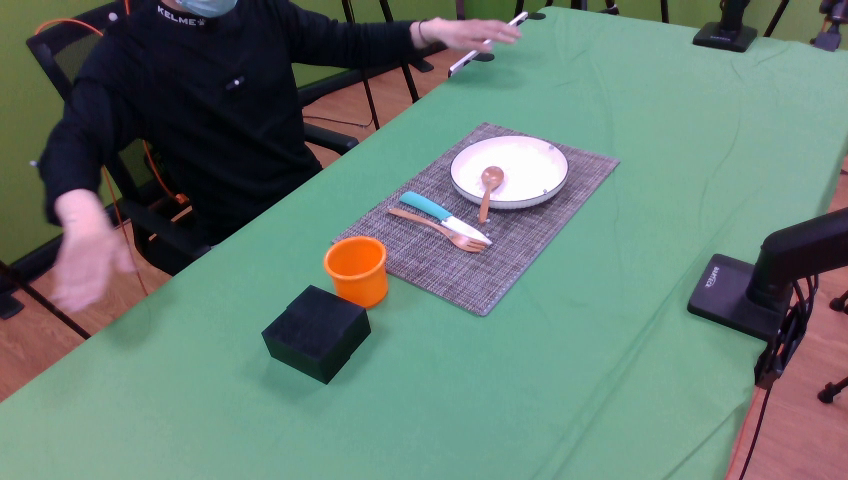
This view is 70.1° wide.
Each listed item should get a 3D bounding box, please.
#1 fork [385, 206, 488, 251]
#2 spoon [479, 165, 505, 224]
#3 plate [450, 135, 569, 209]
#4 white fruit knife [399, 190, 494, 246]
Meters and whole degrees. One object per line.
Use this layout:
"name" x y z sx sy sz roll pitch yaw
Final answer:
"fork" 0.015 -0.021 0.988 0.206 0.019 0.028 24 61 30
"spoon" 0.107 -0.079 1.005 0.041 0.022 0.193 4 29 11
"plate" 0.149 -0.117 1.066 0.209 0.038 0.208 -3 41 4
"white fruit knife" 0.036 -0.038 1.009 0.205 0.016 0.027 32 84 34
